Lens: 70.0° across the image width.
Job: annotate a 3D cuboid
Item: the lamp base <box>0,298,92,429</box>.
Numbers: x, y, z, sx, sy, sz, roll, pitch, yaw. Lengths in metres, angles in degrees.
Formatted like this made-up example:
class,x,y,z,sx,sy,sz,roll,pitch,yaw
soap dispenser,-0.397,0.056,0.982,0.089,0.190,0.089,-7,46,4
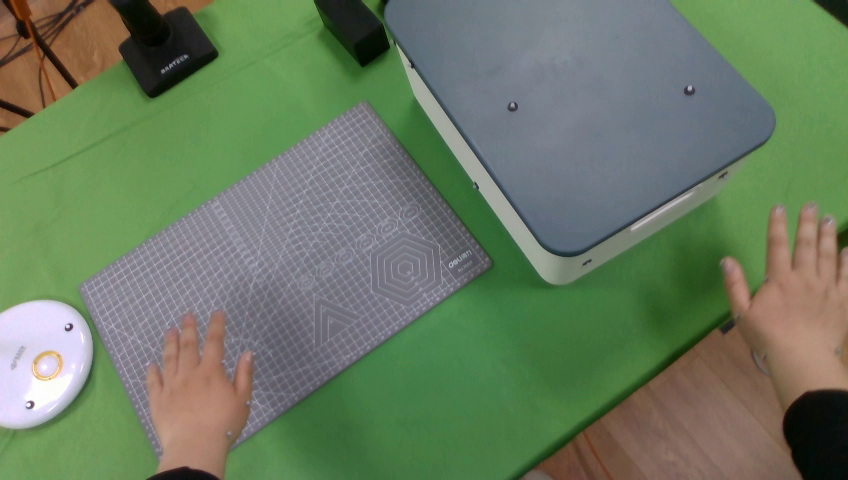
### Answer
class,x,y,z,sx,sy,sz,roll,pitch,yaw
lamp base,-0.512,0.124,0.681,0.179,0.181,0.159,1,70,11

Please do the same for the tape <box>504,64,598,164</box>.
class,x,y,z,sx,sy,sz,roll,pitch,yaw
tape,0.154,-0.156,0.748,0.117,0.053,0.116,-2,70,7

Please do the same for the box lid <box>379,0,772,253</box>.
class,x,y,z,sx,sy,sz,roll,pitch,yaw
box lid,0.140,-0.191,0.630,0.263,0.015,0.368,-31,70,-3

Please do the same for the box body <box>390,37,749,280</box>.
class,x,y,z,sx,sy,sz,roll,pitch,yaw
box body,0.151,-0.163,0.698,0.254,0.161,0.361,-32,69,-4
